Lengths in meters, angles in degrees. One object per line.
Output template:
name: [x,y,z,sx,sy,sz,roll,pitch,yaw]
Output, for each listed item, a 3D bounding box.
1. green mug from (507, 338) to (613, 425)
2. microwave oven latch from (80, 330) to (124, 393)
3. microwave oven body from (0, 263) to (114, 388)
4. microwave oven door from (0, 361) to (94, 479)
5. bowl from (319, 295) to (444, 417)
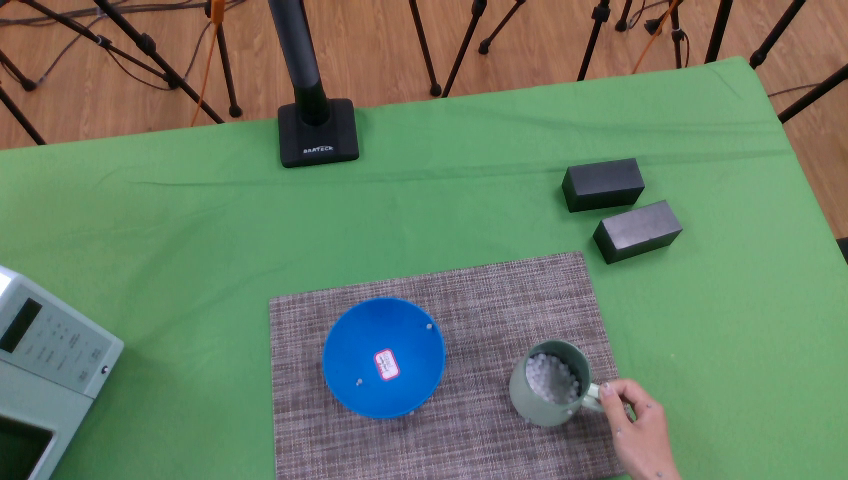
green mug: [0.167,0.178,0.738,0.125,0.106,0.092,17,65,8]
microwave oven latch: [-0.416,0.152,0.772,0.030,0.030,0.079,19,67,9]
microwave oven body: [-0.616,0.215,0.633,0.325,0.262,0.439,18,66,8]
microwave oven door: [-0.492,0.292,0.591,0.039,0.245,0.354,17,66,9]
bowl: [-0.051,0.154,0.764,0.151,0.077,0.150,0,64,0]
